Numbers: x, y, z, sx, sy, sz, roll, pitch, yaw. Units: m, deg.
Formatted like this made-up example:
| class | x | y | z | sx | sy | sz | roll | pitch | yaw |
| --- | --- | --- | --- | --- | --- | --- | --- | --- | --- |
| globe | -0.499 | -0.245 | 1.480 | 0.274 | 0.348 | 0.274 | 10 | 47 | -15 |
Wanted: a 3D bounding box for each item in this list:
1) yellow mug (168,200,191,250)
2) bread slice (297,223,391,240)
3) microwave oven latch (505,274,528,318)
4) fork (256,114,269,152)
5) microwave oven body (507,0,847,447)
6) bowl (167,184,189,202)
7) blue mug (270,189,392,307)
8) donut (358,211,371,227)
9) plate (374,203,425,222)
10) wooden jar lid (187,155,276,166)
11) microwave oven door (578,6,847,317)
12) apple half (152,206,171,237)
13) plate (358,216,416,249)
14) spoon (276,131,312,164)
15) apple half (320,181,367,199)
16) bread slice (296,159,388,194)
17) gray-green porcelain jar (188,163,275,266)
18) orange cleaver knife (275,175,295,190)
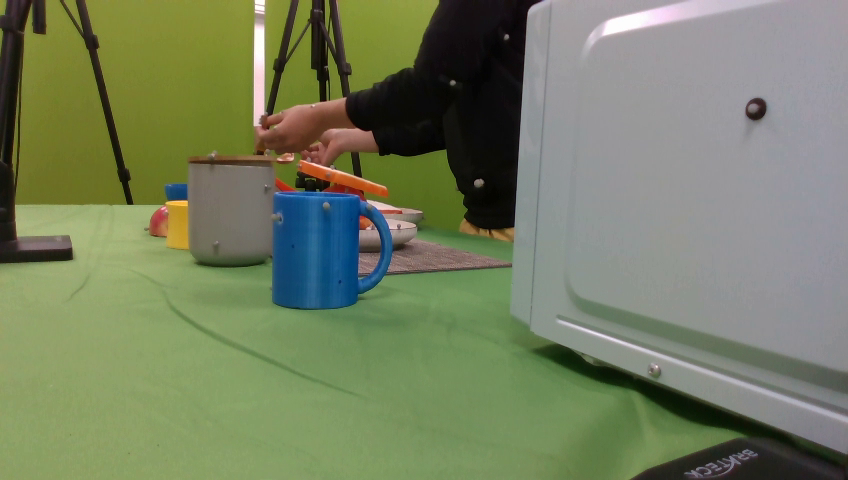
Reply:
| class | x | y | z | sx | sy | sz | roll | pitch | yaw |
| --- | --- | --- | --- | --- | --- | --- | --- | --- | --- |
| yellow mug | -0.320 | -0.022 | 0.904 | 0.130 | 0.064 | 0.100 | 8 | 10 | 36 |
| bread slice | -0.121 | -0.015 | 0.970 | 0.106 | 0.018 | 0.135 | 9 | 8 | 40 |
| microwave oven latch | 0.100 | 0.041 | 0.471 | 0.079 | 0.029 | 0.030 | -2 | 8 | -29 |
| fork | -0.334 | -0.219 | 1.255 | 0.028 | 0.018 | 0.207 | 14 | -17 | -12 |
| microwave oven body | 0.331 | -0.042 | 0.425 | 0.444 | 0.260 | 0.324 | -2 | 8 | -31 |
| bowl | -0.408 | -0.064 | 1.154 | 0.151 | 0.077 | 0.151 | 2 | 8 | 0 |
| blue mug | -0.089 | 0.005 | 0.588 | 0.117 | 0.106 | 0.082 | 0 | 7 | -10 |
| donut | -0.129 | -0.041 | 0.956 | 0.099 | 0.048 | 0.099 | 2 | 8 | 0 |
| plate | -0.102 | -0.053 | 1.299 | 0.209 | 0.038 | 0.209 | 2 | 8 | 0 |
| wooden jar lid | -0.244 | -0.097 | 0.771 | 0.108 | 0.020 | 0.108 | -1 | 7 | 0 |
| microwave oven door | 0.294 | -0.067 | 0.570 | 0.358 | 0.243 | 0.039 | -3 | 9 | -31 |
| apple half | -0.415 | -0.034 | 1.017 | 0.081 | 0.053 | 0.074 | 1 | 10 | -8 |
| plate | -0.116 | -0.014 | 0.967 | 0.208 | 0.039 | 0.207 | 2 | 7 | 0 |
| spoon | -0.312 | -0.231 | 1.487 | 0.041 | 0.021 | 0.194 | 3 | 35 | 13 |
| apple half | -0.128 | -0.076 | 0.949 | 0.081 | 0.033 | 0.081 | 2 | 13 | 0 |
| bread slice | -0.132 | -0.102 | 0.952 | 0.132 | 0.019 | 0.104 | 13 | 6 | -36 |
| gray-green porcelain jar | -0.246 | -0.034 | 0.780 | 0.106 | 0.126 | 0.106 | 2 | 7 | 0 |
| orange cleaver knife | -0.283 | -0.087 | 1.343 | 0.012 | 0.077 | 0.212 | -1 | -18 | 46 |
